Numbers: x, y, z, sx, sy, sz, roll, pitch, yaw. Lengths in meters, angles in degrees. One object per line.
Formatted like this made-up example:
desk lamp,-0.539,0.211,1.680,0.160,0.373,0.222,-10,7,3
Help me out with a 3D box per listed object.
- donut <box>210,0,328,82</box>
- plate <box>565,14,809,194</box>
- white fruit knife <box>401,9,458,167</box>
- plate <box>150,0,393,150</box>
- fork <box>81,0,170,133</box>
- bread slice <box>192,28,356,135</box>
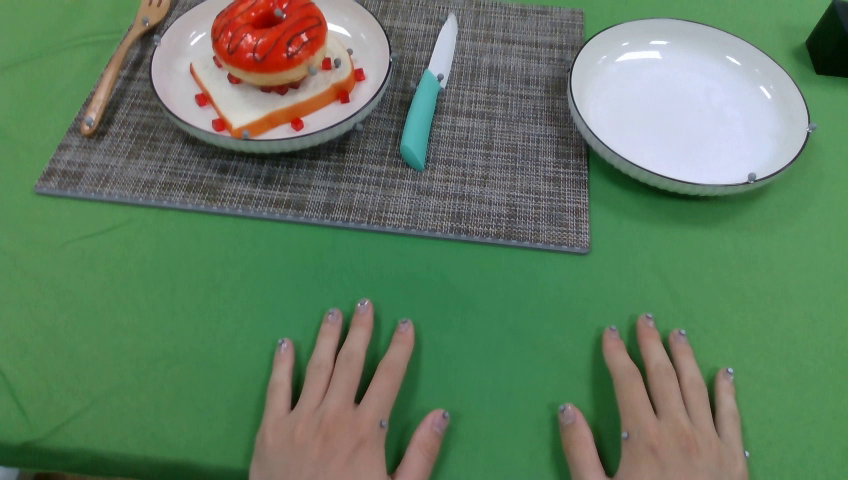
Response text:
donut,-0.131,-0.176,0.516,0.099,0.048,0.098,1,57,-1
plate,0.227,-0.120,0.541,0.208,0.039,0.205,1,57,-2
white fruit knife,0.009,-0.151,0.563,0.027,0.016,0.206,28,54,-20
plate,-0.133,-0.157,0.546,0.209,0.038,0.207,1,58,-1
fork,-0.275,-0.179,0.564,0.028,0.019,0.205,9,55,-5
bread slice,-0.131,-0.153,0.546,0.131,0.019,0.104,-30,64,-18
